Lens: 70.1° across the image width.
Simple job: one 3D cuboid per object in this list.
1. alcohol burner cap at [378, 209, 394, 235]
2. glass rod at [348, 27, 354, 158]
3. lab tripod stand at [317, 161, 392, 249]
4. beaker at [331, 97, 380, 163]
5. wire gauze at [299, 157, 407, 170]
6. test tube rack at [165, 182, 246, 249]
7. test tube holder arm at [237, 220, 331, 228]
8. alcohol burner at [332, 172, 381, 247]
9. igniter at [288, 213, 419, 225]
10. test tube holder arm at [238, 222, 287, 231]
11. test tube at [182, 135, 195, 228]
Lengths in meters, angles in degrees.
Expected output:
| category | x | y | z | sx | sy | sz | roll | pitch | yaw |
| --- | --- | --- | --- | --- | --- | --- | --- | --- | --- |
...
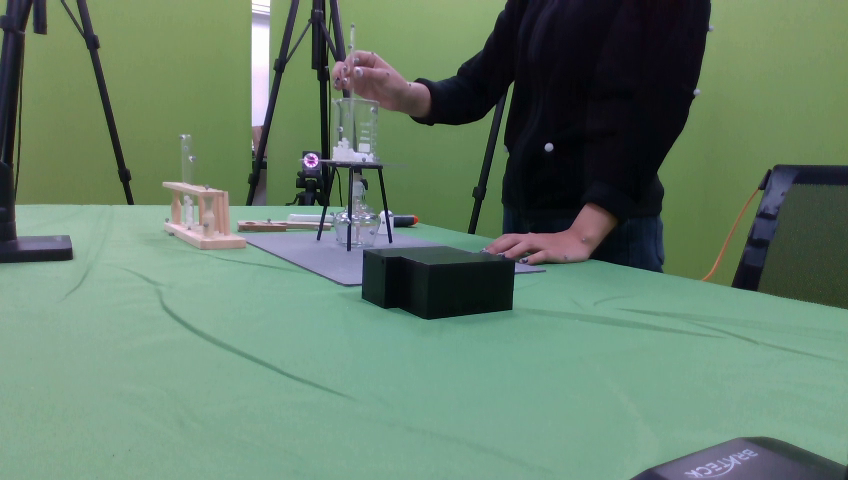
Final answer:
| category | x | y | z | sx | sy | sz | roll | pitch | yaw |
| --- | --- | --- | --- | --- | --- | --- | --- | --- | --- |
| alcohol burner cap | -0.072 | -0.035 | 1.145 | 0.034 | 0.048 | 0.034 | 2 | 7 | 0 |
| glass rod | -0.112 | -0.225 | 0.924 | 0.008 | 0.199 | 0.008 | 1 | 2 | 0 |
| lab tripod stand | -0.111 | -0.059 | 0.964 | 0.148 | 0.131 | 0.148 | 4 | 8 | 0 |
| beaker | -0.111 | -0.171 | 0.950 | 0.073 | 0.100 | 0.084 | 12 | 12 | 42 |
| wire gauze | -0.112 | -0.124 | 0.959 | 0.121 | 0.011 | 0.126 | 13 | 11 | 40 |
| test tube rack | -0.360 | -0.044 | 0.982 | 0.067 | 0.085 | 0.241 | -3 | 9 | -34 |
| test tube holder arm | -0.261 | -0.029 | 1.141 | 0.179 | 0.015 | 0.013 | -2 | 43 | -33 |
| alcohol burner | -0.107 | -0.048 | 0.961 | 0.078 | 0.119 | 0.078 | 1 | 9 | 0 |
| igniter | -0.145 | -0.044 | 1.278 | 0.278 | 0.025 | 0.057 | -1 | -2 | -21 |
| test tube holder arm | -0.297 | -0.024 | 1.113 | 0.088 | 0.015 | 0.010 | -1 | 42 | -32 |
| test tube | -0.382 | -0.095 | 0.983 | 0.017 | 0.150 | 0.017 | -1 | 2 | 0 |
